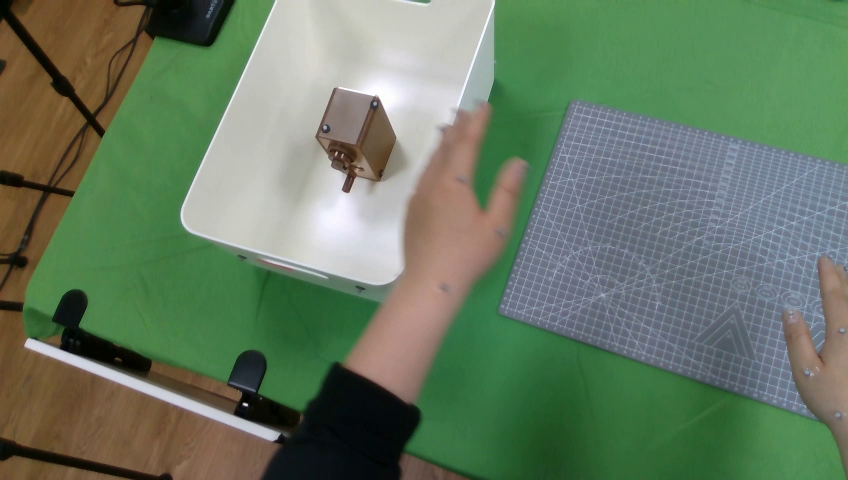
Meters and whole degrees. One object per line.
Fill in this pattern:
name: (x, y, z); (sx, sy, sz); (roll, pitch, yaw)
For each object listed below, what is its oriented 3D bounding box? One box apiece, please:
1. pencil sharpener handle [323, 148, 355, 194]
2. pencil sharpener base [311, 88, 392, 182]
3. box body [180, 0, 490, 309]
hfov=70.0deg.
pencil sharpener handle: (-0.103, -0.082, 0.729); (0.036, 0.068, 0.030); (13, 75, 22)
pencil sharpener base: (-0.087, -0.125, 0.753); (0.061, 0.108, 0.076); (15, 76, 13)
box body: (-0.082, -0.120, 0.728); (0.253, 0.161, 0.362); (15, 75, 13)
